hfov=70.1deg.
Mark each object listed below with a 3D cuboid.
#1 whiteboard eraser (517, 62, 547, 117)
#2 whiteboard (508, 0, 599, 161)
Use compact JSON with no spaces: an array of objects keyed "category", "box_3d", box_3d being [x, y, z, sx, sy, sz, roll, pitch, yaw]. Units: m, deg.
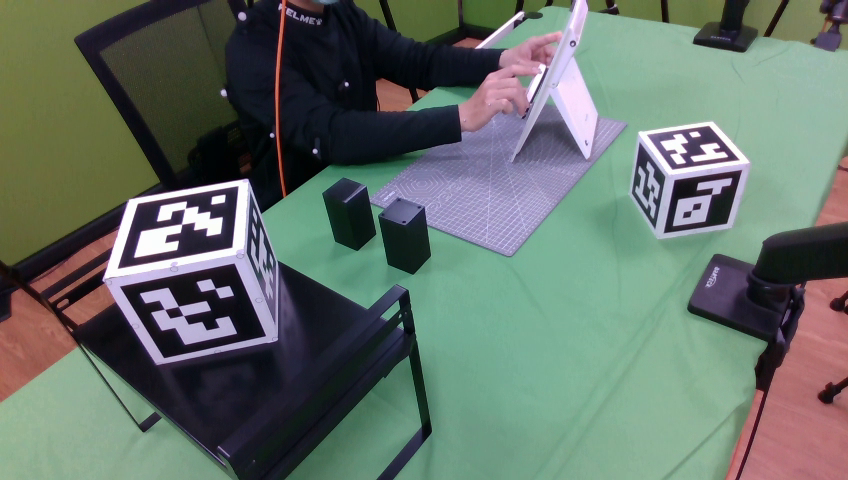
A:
[{"category":"whiteboard eraser","box_3d":[0.196,-0.273,1.097,0.019,0.101,0.041,23,28,1]},{"category":"whiteboard","box_3d":[0.286,-0.289,1.089,0.144,0.305,0.217,22,45,3]}]
